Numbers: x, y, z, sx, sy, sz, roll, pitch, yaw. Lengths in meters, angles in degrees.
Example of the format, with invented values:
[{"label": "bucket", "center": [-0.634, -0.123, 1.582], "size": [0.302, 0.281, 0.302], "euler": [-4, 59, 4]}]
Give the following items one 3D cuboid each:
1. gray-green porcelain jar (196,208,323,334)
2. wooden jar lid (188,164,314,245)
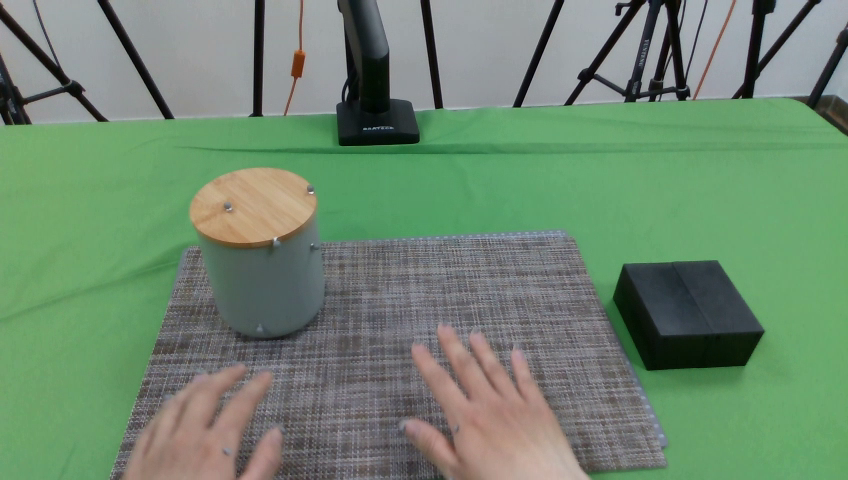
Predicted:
[{"label": "gray-green porcelain jar", "center": [-0.153, 0.018, 0.580], "size": [0.106, 0.127, 0.105], "euler": [1, 40, -1]}, {"label": "wooden jar lid", "center": [-0.152, -0.029, 0.540], "size": [0.108, 0.021, 0.107], "euler": [3, 43, -3]}]
